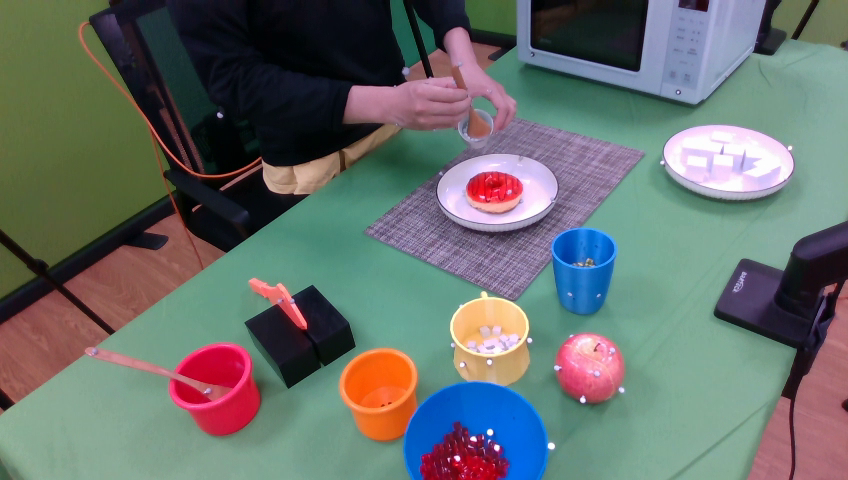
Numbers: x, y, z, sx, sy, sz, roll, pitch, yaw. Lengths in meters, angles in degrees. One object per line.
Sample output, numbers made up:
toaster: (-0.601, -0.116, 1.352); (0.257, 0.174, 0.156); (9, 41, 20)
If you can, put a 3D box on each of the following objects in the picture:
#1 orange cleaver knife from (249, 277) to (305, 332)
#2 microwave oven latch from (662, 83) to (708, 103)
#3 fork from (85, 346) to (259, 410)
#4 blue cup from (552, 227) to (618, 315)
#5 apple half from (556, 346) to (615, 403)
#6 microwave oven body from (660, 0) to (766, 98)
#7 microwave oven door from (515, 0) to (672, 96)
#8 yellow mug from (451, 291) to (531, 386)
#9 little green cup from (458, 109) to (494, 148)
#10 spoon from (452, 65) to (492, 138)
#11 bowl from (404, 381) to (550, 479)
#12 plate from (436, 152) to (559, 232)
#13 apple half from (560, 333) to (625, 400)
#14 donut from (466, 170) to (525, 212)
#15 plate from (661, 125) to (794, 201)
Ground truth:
orange cleaver knife: (-0.210, 0.088, 0.855); (0.012, 0.077, 0.210); (-28, 15, -25)
microwave oven latch: (0.518, -0.296, 1.204); (0.078, 0.029, 0.030); (28, 52, 35)
fork: (-0.298, 0.166, 0.727); (0.209, 0.018, 0.028); (28, 47, -23)
blue cup: (0.218, 0.047, 0.825); (0.092, 0.100, 0.092); (-6, 39, 5)
apple half: (0.181, 0.167, 0.709); (0.080, 0.081, 0.033); (29, 50, 35)
microwave oven body: (0.472, -0.513, 1.317); (0.438, 0.261, 0.327); (26, 51, 34)
microwave oven door: (0.344, -0.455, 1.260); (0.353, 0.245, 0.039); (26, 51, 33)
yellow mug: (0.085, 0.120, 0.786); (0.100, 0.064, 0.130); (-7, 39, 1)
little green cup: (0.089, -0.190, 1.040); (0.061, 0.039, 0.061); (-1, 76, 4)
spoon: (0.069, -0.209, 0.933); (0.041, 0.195, 0.021); (-14, 62, 13)
bowl: (0.058, 0.235, 0.645); (0.151, 0.077, 0.150); (-4, 39, 4)
plate: (0.125, -0.078, 1.030); (0.209, 0.038, 0.208); (-4, 41, 4)
apple half: (0.209, 0.147, 0.730); (0.080, 0.075, 0.053); (26, 47, 38)
donut: (0.121, -0.083, 1.019); (0.099, 0.048, 0.098); (-4, 38, 4)
plate: (0.513, -0.128, 1.035); (0.207, 0.039, 0.206); (-4, 40, 4)
